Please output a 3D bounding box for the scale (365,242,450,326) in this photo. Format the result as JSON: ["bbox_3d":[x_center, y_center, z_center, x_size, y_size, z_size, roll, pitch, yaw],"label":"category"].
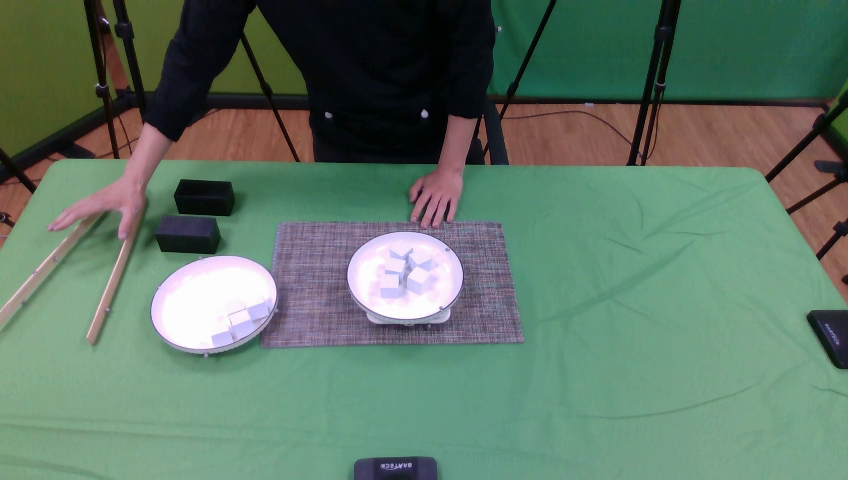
[{"bbox_3d":[-0.032,0.071,1.113,0.149,0.032,0.199,0,46,-4],"label":"scale"}]

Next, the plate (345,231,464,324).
[{"bbox_3d":[-0.034,0.069,1.069,0.209,0.038,0.208,2,46,-2],"label":"plate"}]

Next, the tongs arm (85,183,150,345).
[{"bbox_3d":[-0.561,0.029,1.121,0.028,0.028,0.385,-3,46,-2],"label":"tongs arm"}]

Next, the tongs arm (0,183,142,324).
[{"bbox_3d":[-0.648,0.017,1.121,0.051,0.026,0.383,11,45,6],"label":"tongs arm"}]

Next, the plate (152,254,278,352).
[{"bbox_3d":[-0.357,0.111,1.052,0.208,0.039,0.206,2,46,-2],"label":"plate"}]
